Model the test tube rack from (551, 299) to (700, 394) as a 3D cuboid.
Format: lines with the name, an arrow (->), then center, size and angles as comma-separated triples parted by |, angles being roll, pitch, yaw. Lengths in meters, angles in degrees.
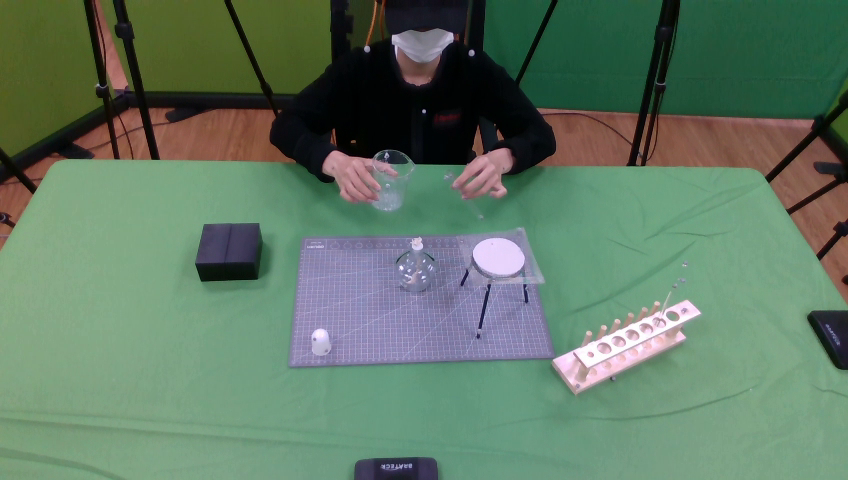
test tube rack -> 0.339, 0.166, 1.021 | 0.242, 0.085, 0.066 | -19, 50, -21

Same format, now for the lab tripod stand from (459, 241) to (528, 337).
lab tripod stand -> 0.122, 0.075, 1.054 | 0.148, 0.132, 0.147 | 3, 44, -3

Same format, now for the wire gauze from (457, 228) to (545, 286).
wire gauze -> 0.126, 0.029, 1.006 | 0.125, 0.011, 0.120 | -4, 46, -10

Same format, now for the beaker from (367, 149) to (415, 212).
beaker -> -0.065, -0.108, 1.134 | 0.084, 0.100, 0.073 | 0, 52, -15

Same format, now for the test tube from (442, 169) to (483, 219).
test tube -> 0.076, -0.085, 1.153 | 0.017, 0.151, 0.017 | -19, 49, 23

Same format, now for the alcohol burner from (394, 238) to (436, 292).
alcohol burner -> -0.016, 0.038, 1.093 | 0.078, 0.119, 0.077 | 2, 48, -2

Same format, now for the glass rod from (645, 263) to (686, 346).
glass rod -> 0.391, 0.110, 0.986 | 0.008, 0.201, 0.008 | 2, 42, -1

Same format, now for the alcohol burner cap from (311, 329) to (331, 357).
alcohol burner cap -> -0.173, 0.168, 1.004 | 0.034, 0.048, 0.033 | 2, 46, -2
